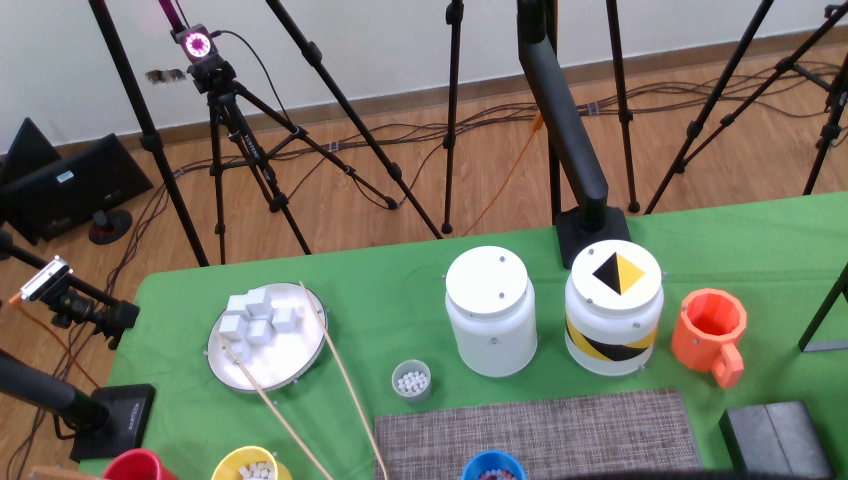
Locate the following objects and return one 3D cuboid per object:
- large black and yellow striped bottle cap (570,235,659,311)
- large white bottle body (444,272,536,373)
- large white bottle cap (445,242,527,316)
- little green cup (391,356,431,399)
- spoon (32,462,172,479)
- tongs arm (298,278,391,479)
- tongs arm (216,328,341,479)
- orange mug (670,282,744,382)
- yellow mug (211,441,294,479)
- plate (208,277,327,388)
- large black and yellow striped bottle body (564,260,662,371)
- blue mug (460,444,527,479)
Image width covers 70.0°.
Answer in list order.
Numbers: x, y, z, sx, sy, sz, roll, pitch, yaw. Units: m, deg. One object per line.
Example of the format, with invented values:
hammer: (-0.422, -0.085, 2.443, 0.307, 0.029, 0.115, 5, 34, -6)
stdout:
large black and yellow striped bottle cap: (0.255, 0.042, 0.814, 0.115, 0.019, 0.114, -5, 53, 7)
large white bottle body: (0.101, 0.103, 0.909, 0.130, 0.186, 0.129, -6, 52, 8)
large white bottle cap: (0.086, 0.052, 0.842, 0.114, 0.018, 0.113, -6, 52, 8)
little green cup: (-0.018, 0.216, 0.942, 0.061, 0.039, 0.061, -5, 53, 8)
spoon: (-0.455, 0.344, 0.871, 0.195, 0.021, 0.041, 25, 53, -24)
tongs arm: (-0.131, 0.211, 0.949, 0.028, 0.028, 0.383, -22, 58, -15)
tongs arm: (-0.200, 0.255, 0.927, 0.051, 0.027, 0.381, -36, 61, -20)
orange mug: (0.413, 0.136, 0.872, 0.083, 0.102, 0.125, -15, 47, 1)
yellow mug: (-0.255, 0.360, 0.865, 0.099, 0.064, 0.130, 27, 64, 28)
plate: (-0.263, 0.159, 1.039, 0.207, 0.039, 0.205, -6, 53, 8)
large black and yellow striped bottle body: (0.270, 0.094, 0.879, 0.130, 0.186, 0.129, -6, 52, 8)
blue mug: (0.104, 0.332, 0.779, 0.082, 0.107, 0.115, -38, 55, -17)
